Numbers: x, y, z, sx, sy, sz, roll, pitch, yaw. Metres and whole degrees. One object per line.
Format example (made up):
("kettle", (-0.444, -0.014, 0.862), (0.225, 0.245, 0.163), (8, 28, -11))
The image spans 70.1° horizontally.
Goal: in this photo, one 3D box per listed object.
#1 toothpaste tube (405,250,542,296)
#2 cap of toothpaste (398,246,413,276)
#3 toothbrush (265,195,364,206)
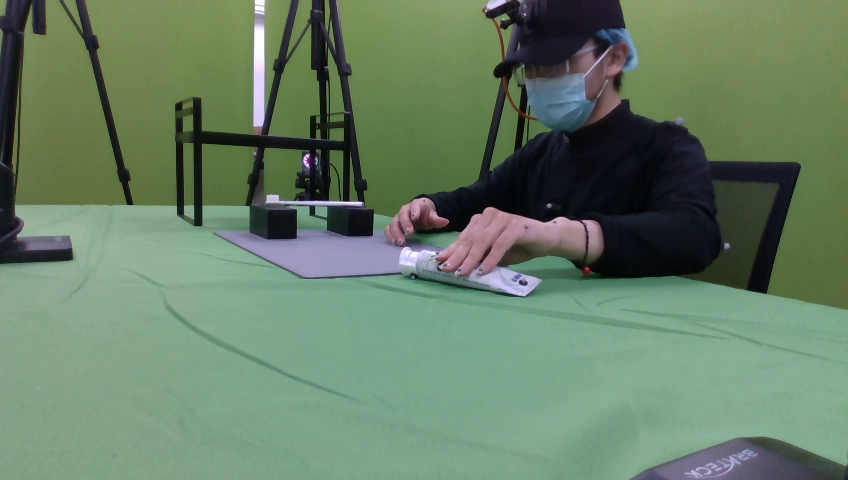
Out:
("toothpaste tube", (0.048, 0.038, 0.698), (0.164, 0.034, 0.055), (9, 27, 29))
("cap of toothpaste", (-0.020, 0.025, 0.738), (0.011, 0.037, 0.037), (4, 8, 24))
("toothbrush", (-0.194, -0.069, 1.090), (0.183, 0.016, 0.014), (0, -8, -27))
